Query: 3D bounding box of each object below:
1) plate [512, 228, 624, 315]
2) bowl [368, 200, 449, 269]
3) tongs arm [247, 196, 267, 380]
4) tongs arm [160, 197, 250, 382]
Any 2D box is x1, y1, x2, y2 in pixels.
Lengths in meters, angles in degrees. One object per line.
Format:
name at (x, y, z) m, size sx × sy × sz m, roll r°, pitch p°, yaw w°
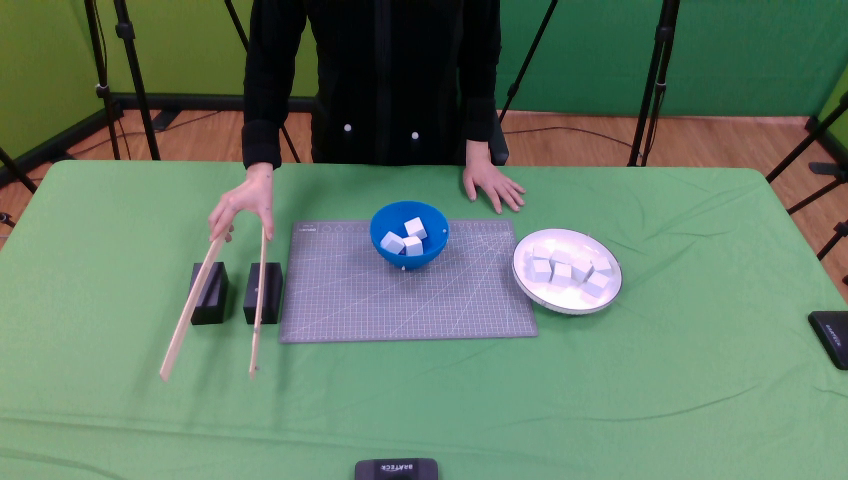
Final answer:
plate at (0.268, 0.063, 1.146) m, size 0.208 × 0.039 × 0.206 m, roll 3°, pitch 46°, yaw -3°
bowl at (-0.031, 0.002, 1.151) m, size 0.151 × 0.077 × 0.150 m, roll 2°, pitch 46°, yaw -2°
tongs arm at (-0.293, 0.063, 1.022) m, size 0.051 × 0.026 × 0.382 m, roll -4°, pitch 47°, yaw -2°
tongs arm at (-0.362, 0.064, 1.020) m, size 0.028 × 0.028 × 0.385 m, roll 1°, pitch 46°, yaw 7°
